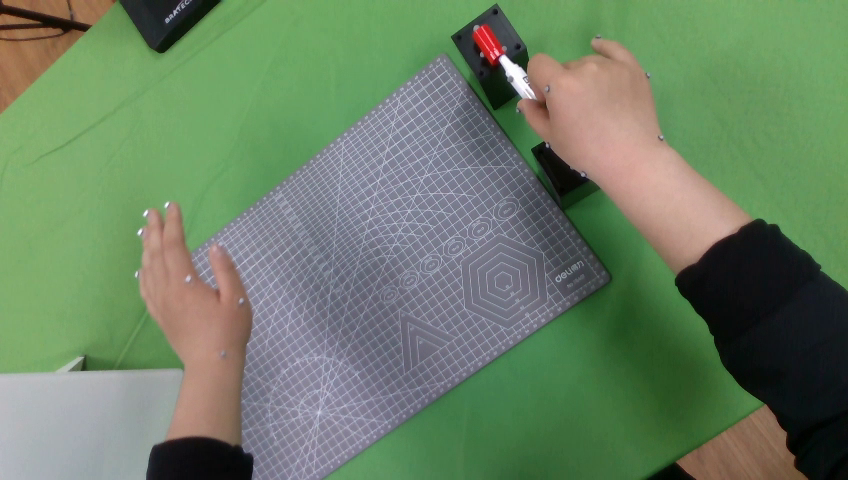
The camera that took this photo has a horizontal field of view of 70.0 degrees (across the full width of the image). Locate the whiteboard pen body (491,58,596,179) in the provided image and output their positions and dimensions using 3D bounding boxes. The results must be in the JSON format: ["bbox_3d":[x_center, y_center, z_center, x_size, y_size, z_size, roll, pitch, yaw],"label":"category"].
[{"bbox_3d":[0.099,-0.109,0.522,0.017,0.017,0.140,-39,79,9],"label":"whiteboard pen body"}]

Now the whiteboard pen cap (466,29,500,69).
[{"bbox_3d":[0.052,-0.169,0.534,0.017,0.017,0.032,-33,82,10],"label":"whiteboard pen cap"}]

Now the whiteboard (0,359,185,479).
[{"bbox_3d":[-0.444,0.223,0.623,0.143,0.308,0.217,16,91,34],"label":"whiteboard"}]
